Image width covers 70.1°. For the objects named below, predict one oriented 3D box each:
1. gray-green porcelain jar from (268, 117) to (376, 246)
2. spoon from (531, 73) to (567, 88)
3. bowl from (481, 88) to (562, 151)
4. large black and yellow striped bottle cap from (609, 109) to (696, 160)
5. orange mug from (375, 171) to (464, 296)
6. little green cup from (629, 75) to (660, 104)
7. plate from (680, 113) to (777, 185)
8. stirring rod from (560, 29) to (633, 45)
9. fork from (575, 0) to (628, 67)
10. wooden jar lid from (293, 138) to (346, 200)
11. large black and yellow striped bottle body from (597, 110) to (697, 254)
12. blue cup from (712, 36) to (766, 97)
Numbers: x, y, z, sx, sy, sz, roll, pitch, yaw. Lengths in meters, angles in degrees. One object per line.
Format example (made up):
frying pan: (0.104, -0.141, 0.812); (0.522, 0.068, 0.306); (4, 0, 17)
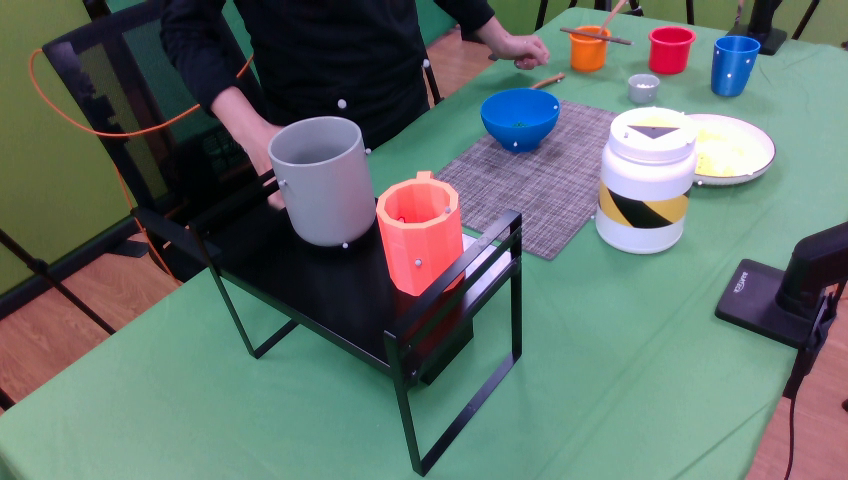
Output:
gray-green porcelain jar: (-0.115, -0.064, 0.715); (0.106, 0.127, 0.105); (-4, 40, 4)
spoon: (0.249, -0.336, 1.332); (0.194, 0.022, 0.041); (-32, 34, -25)
bowl: (0.187, -0.223, 1.161); (0.151, 0.077, 0.150); (-4, 40, 4)
large black and yellow striped bottle cap: (0.319, -0.150, 0.849); (0.115, 0.019, 0.114); (-4, 39, 3)
orange mug: (-0.001, -0.016, 0.662); (0.083, 0.101, 0.125); (-2, 45, 8)
little green cup: (0.457, -0.314, 1.260); (0.061, 0.039, 0.061); (-4, 40, 4)
plate: (0.506, -0.158, 1.073); (0.209, 0.038, 0.208); (-4, 40, 4)
stirring rod: (0.381, -0.452, 1.345); (0.174, 0.006, 0.014); (25, 49, 33)
fork: (0.413, -0.481, 1.377); (0.207, 0.019, 0.028); (-56, 43, 12)
wooden jar lid: (-0.158, -0.106, 0.926); (0.108, 0.021, 0.108); (-28, 44, 31)
large black and yellow striped bottle body: (0.331, -0.086, 0.904); (0.131, 0.185, 0.130); (-5, 41, 4)
blue cup: (0.627, -0.350, 1.227); (0.092, 0.100, 0.092); (-4, 39, 4)
